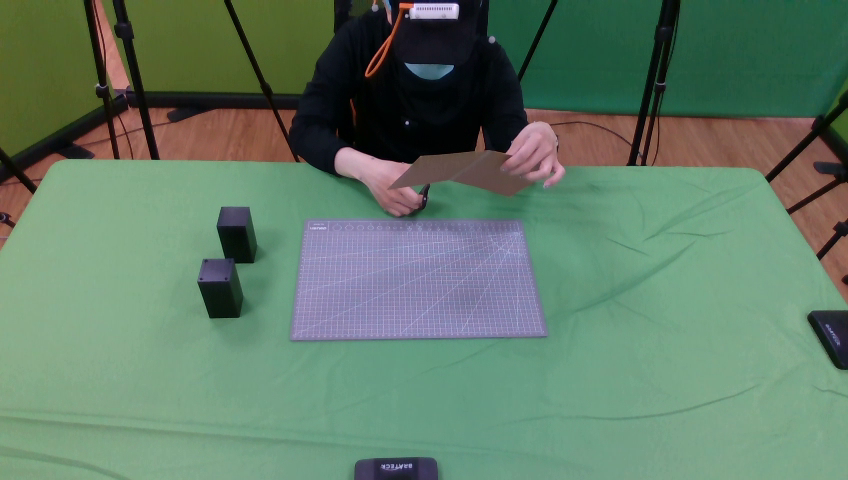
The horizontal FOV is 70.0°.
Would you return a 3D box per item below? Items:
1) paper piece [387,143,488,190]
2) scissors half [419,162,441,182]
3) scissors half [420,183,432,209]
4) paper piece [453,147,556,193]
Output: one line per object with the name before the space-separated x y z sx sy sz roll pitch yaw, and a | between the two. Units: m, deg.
paper piece | 0.020 -0.123 1.009 0.136 0.135 0.004 -13 75 -30
scissors half | 0.011 -0.133 1.187 0.013 0.040 0.174 -3 8 -12
scissors half | 0.012 -0.109 1.183 0.013 0.176 0.040 1 63 -11
paper piece | 0.138 -0.122 1.074 0.139 0.136 0.008 11 71 -23
